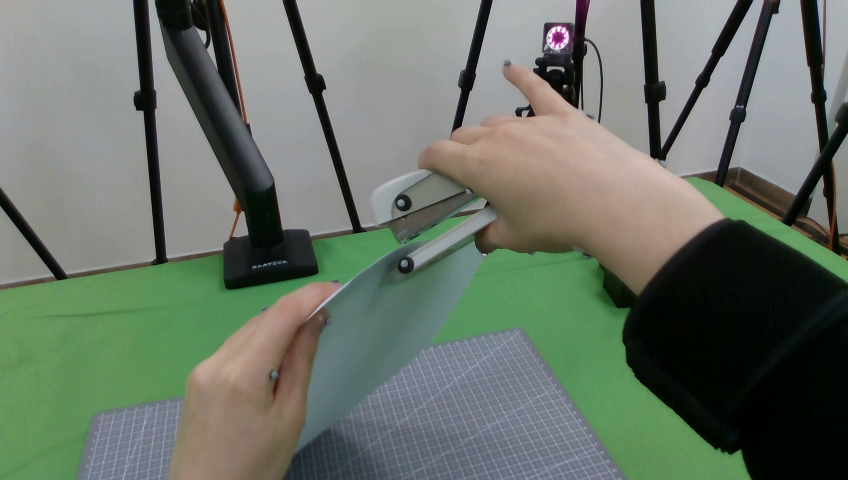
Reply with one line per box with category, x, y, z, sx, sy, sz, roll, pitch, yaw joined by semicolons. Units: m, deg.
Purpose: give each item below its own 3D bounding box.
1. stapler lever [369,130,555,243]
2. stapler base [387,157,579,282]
stapler lever;0.020;-0.038;0.368;0.118;0.040;0.027;-30;-3;16
stapler base;0.031;-0.015;0.366;0.130;0.024;0.041;-30;-4;16
